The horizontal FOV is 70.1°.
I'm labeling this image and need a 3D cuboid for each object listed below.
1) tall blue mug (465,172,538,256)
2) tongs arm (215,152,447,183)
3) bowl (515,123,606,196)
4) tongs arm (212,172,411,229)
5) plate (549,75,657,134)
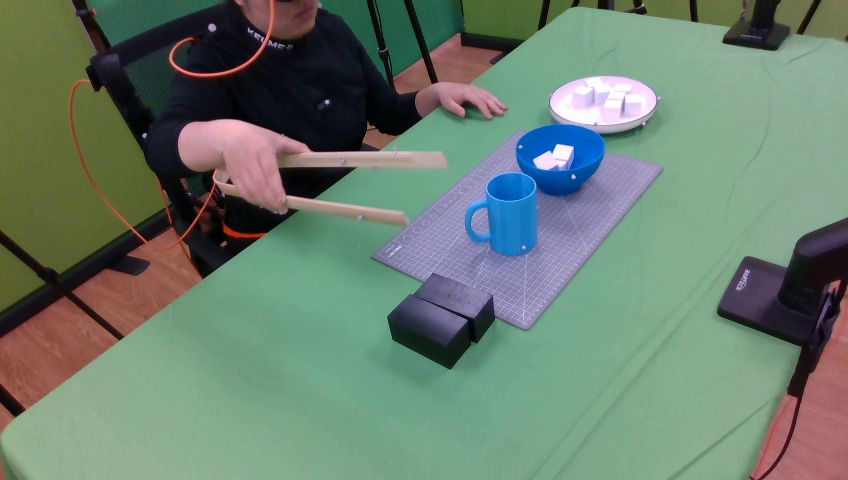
[{"bbox_3d":[0.125,-0.033,0.925,0.107,0.108,0.077,-32,46,-25],"label":"tall blue mug"},{"bbox_3d":[-0.146,-0.100,0.855,0.382,0.027,0.050,6,53,31],"label":"tongs arm"},{"bbox_3d":[0.234,-0.130,1.044,0.151,0.077,0.150,-5,40,5],"label":"bowl"},{"bbox_3d":[-0.171,-0.055,0.823,0.384,0.028,0.028,12,60,35],"label":"tongs arm"},{"bbox_3d":[0.357,-0.269,1.220,0.209,0.038,0.208,-5,41,5],"label":"plate"}]
